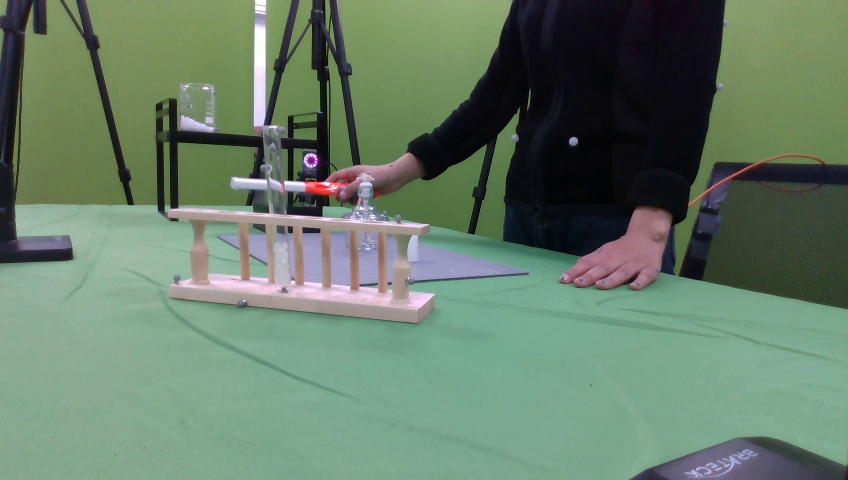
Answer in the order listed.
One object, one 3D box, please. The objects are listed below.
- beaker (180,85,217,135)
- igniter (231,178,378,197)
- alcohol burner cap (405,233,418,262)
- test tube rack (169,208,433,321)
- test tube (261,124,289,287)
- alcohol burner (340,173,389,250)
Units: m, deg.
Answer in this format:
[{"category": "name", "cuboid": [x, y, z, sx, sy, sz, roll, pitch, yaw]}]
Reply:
[{"category": "beaker", "cuboid": [-0.478, -0.275, 1.279, 0.074, 0.100, 0.084, 4, 8, 15]}, {"category": "igniter", "cuboid": [-0.219, -0.099, 1.145, 0.278, 0.025, 0.057, 1, 16, -28]}, {"category": "alcohol burner cap", "cuboid": [-0.024, 0.006, 0.847, 0.034, 0.048, 0.034, 3, 9, 0]}, {"category": "test tube rack", "cuboid": [-0.115, 0.017, 0.574, 0.242, 0.085, 0.067, 4, 8, 13]}, {"category": "test tube", "cuboid": [-0.136, -0.030, 0.554, 0.017, 0.150, 0.017, -2, 10, 1]}, {"category": "alcohol burner", "cuboid": [-0.093, -0.045, 0.939, 0.078, 0.119, 0.078, 0, 7, 0]}]
